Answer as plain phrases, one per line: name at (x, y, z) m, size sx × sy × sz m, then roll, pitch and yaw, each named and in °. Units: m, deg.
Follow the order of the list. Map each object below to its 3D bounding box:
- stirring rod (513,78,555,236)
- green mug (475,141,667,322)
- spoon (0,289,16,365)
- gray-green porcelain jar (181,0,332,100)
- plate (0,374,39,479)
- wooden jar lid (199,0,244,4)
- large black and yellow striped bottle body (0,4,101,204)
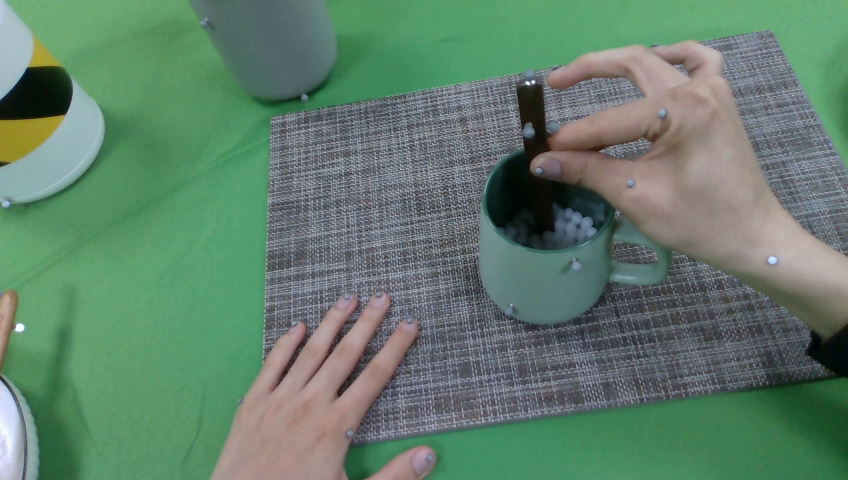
stirring rod at (0.071, -0.042, 0.374) m, size 0.014 × 0.178 × 0.005 m, roll -9°, pitch 63°, yaw 11°
green mug at (0.094, 0.001, 0.399) m, size 0.125 × 0.106 × 0.092 m, roll 11°, pitch 63°, yaw 14°
spoon at (-0.301, 0.123, 0.415) m, size 0.041 × 0.022 × 0.192 m, roll -7°, pitch 69°, yaw 3°
gray-green porcelain jar at (-0.143, -0.195, 0.531) m, size 0.106 × 0.127 × 0.105 m, roll -3°, pitch 61°, yaw 7°
plate at (-0.357, 0.182, 0.410) m, size 0.209 × 0.038 × 0.207 m, roll -3°, pitch 61°, yaw 7°
wooden jar lid at (-0.152, -0.226, 0.477) m, size 0.108 × 0.021 × 0.107 m, roll -3°, pitch 64°, yaw 6°
large black and yellow striped bottle body at (-0.377, -0.128, 0.495) m, size 0.130 × 0.185 × 0.129 m, roll -3°, pitch 61°, yaw 7°
